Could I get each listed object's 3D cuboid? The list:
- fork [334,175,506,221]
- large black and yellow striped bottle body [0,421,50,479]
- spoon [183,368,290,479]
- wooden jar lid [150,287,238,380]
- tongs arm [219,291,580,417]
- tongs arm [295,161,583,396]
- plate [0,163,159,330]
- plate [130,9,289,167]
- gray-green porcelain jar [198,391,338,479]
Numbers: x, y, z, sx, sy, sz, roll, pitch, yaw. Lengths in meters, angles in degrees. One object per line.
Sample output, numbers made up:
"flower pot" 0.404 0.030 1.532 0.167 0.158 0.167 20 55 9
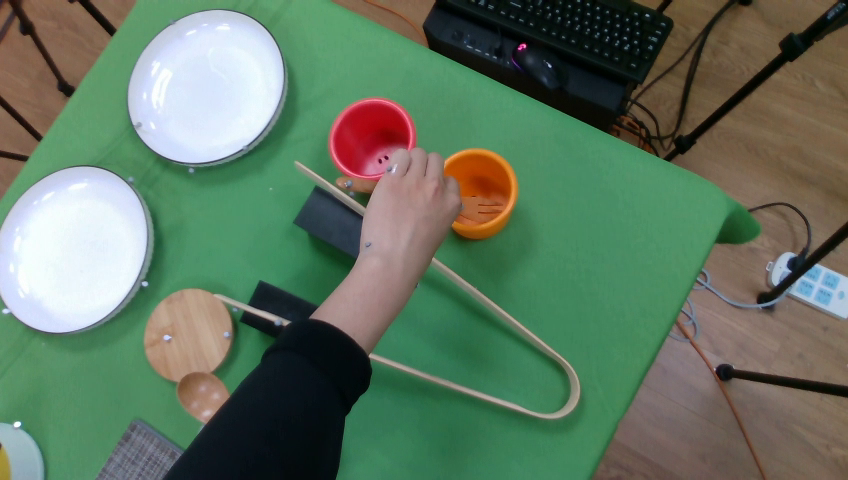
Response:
"fork" 0.004 -0.043 0.614 0.018 0.209 0.028 -14 72 50
"large black and yellow striped bottle body" -0.514 0.261 0.634 0.130 0.185 0.130 -2 77 9
"spoon" -0.151 0.194 0.551 0.041 0.022 0.193 -43 79 -5
"wooden jar lid" -0.269 0.110 0.714 0.108 0.021 0.108 -1 79 7
"tongs arm" -0.025 0.110 0.633 0.385 0.026 0.050 23 79 0
"tongs arm" 0.015 0.036 0.646 0.387 0.028 0.028 37 76 2
"plate" -0.421 0.008 0.748 0.207 0.039 0.206 -2 78 8
"plate" -0.266 -0.189 0.766 0.209 0.038 0.208 -2 78 8
"gray-green porcelain jar" -0.151 0.210 0.620 0.106 0.127 0.105 -2 77 8
